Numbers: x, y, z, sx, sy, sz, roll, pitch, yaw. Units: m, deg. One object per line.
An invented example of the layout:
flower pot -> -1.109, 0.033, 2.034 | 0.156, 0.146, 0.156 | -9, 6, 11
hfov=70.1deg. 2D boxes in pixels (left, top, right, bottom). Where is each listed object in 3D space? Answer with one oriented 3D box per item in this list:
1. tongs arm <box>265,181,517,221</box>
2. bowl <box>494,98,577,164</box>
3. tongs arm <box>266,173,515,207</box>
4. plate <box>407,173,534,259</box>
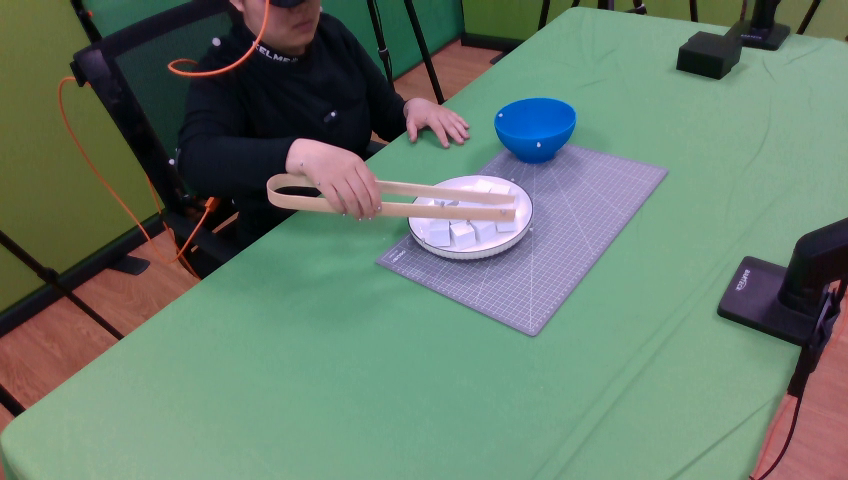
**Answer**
tongs arm -> -0.050, -0.060, 0.934 | 0.386, 0.026, 0.050 | 2, 43, -6
bowl -> 0.207, -0.195, 1.128 | 0.151, 0.077, 0.150 | -5, 40, 5
tongs arm -> -0.049, -0.075, 0.951 | 0.388, 0.028, 0.028 | 5, 47, -3
plate -> 0.076, -0.037, 0.997 | 0.207, 0.039, 0.206 | -5, 40, 5
